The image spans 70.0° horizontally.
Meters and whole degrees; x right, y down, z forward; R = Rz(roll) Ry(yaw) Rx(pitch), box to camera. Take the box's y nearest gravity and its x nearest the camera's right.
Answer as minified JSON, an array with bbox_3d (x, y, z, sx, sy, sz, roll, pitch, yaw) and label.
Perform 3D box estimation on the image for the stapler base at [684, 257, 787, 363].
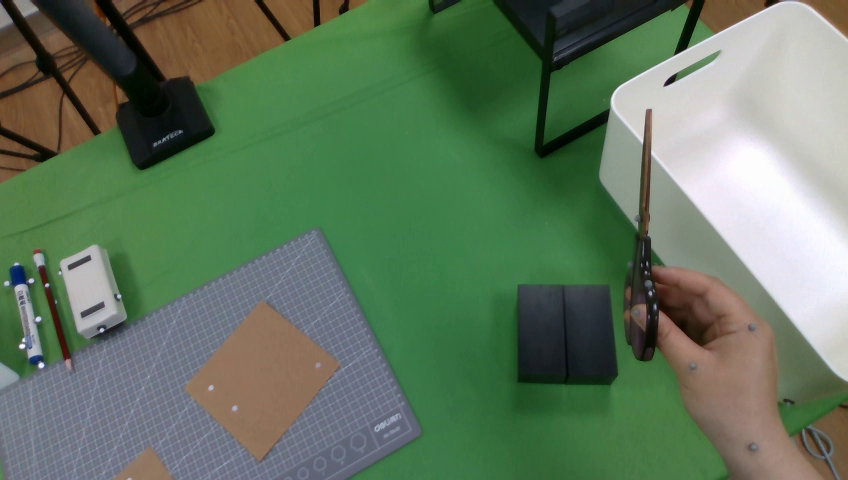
[{"bbox_3d":[0.347,0.072,0.675,0.041,0.024,0.129,-32,69,-5],"label":"stapler base"}]

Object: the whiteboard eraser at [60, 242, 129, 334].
[{"bbox_3d":[-0.416,0.061,0.767,0.055,0.042,0.111,-29,66,-5],"label":"whiteboard eraser"}]

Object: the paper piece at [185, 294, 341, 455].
[{"bbox_3d":[-0.192,0.155,0.714,0.137,0.009,0.136,36,79,18],"label":"paper piece"}]

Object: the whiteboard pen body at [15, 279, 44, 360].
[{"bbox_3d":[-0.509,0.092,0.777,0.017,0.017,0.139,-27,65,-6],"label":"whiteboard pen body"}]

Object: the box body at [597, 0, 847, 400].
[{"bbox_3d":[0.387,-0.042,0.650,0.254,0.162,0.361,-29,66,-6],"label":"box body"}]

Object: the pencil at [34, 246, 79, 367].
[{"bbox_3d":[-0.474,0.083,0.781,0.012,0.012,0.192,-31,66,-7],"label":"pencil"}]

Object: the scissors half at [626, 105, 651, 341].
[{"bbox_3d":[0.157,-0.008,0.439,0.013,0.040,0.176,-2,109,5],"label":"scissors half"}]

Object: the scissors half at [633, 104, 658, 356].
[{"bbox_3d":[0.154,-0.005,0.419,0.013,0.040,0.175,-1,92,10],"label":"scissors half"}]

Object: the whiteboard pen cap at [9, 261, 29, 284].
[{"bbox_3d":[-0.535,0.045,0.800,0.018,0.018,0.033,-29,65,-6],"label":"whiteboard pen cap"}]

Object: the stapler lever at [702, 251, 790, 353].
[{"bbox_3d":[0.346,0.064,0.650,0.027,0.040,0.117,-32,70,-5],"label":"stapler lever"}]

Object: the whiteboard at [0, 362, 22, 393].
[{"bbox_3d":[-0.656,0.083,0.674,0.217,0.309,0.142,-28,46,-6],"label":"whiteboard"}]

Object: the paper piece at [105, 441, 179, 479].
[{"bbox_3d":[-0.317,0.315,0.658,0.135,0.004,0.134,-42,69,-13],"label":"paper piece"}]
